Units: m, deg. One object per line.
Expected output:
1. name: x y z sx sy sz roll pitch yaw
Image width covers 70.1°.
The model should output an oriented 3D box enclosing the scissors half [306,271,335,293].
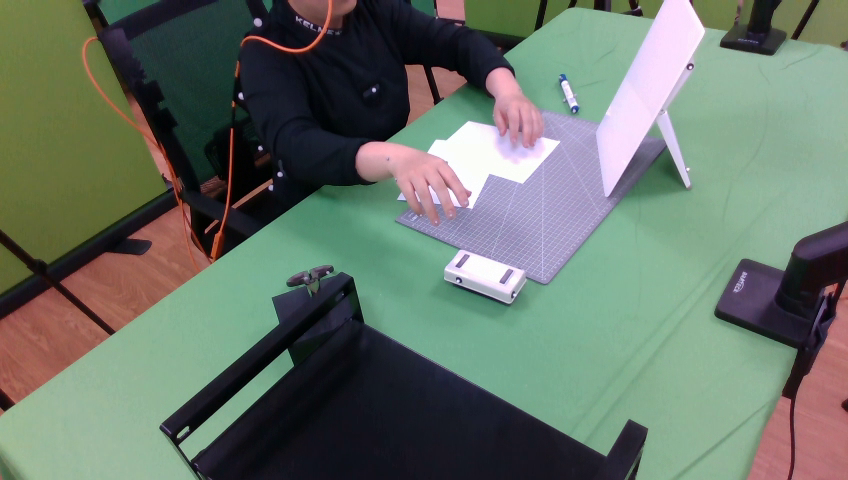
1. scissors half: -0.152 0.061 0.872 0.040 0.013 0.175 -4 6 -4

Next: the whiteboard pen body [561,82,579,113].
1. whiteboard pen body: 0.310 -0.311 1.297 0.017 0.017 0.140 -6 41 3

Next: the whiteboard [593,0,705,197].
1. whiteboard: 0.421 -0.227 1.009 0.144 0.305 0.216 17 41 -3

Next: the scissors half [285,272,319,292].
1. scissors half: -0.172 0.063 0.868 0.040 0.013 0.174 -12 7 -21

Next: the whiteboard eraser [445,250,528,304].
1. whiteboard eraser: 0.090 0.056 0.882 0.112 0.042 0.056 18 44 27

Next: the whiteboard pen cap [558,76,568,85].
1. whiteboard pen cap: 0.309 -0.350 1.340 0.018 0.018 0.033 -6 41 2
